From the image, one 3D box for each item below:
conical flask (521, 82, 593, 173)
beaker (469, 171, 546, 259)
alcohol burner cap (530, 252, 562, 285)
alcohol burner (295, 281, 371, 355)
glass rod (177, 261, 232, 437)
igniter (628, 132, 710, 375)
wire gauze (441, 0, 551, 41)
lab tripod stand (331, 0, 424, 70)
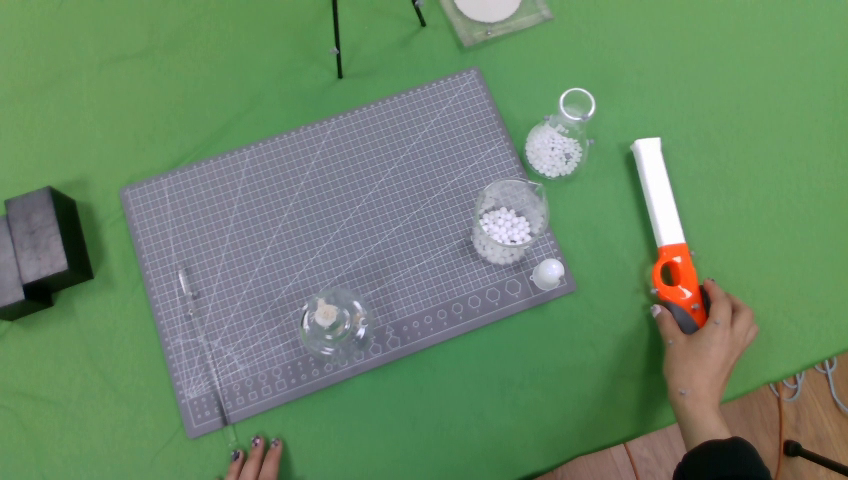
[{"bbox_3d":[0.151,-0.127,0.660,0.075,0.122,0.075,0,76,1],"label":"conical flask"},{"bbox_3d":[0.087,-0.024,0.645,0.084,0.100,0.073,-44,80,-10],"label":"beaker"},{"bbox_3d":[0.135,0.028,0.662,0.034,0.048,0.033,0,76,0],"label":"alcohol burner cap"},{"bbox_3d":[-0.095,0.077,0.614,0.078,0.119,0.077,0,76,2],"label":"alcohol burner"},{"bbox_3d":[-0.239,0.117,0.658,0.008,0.008,0.199,-19,80,-5],"label":"glass rod"},{"bbox_3d":[0.273,0.010,0.677,0.057,0.025,0.275,-6,77,-9],"label":"igniter"},{"bbox_3d":[0.080,-0.317,0.763,0.125,0.011,0.121,-22,78,-7],"label":"wire gauze"},{"bbox_3d":[-0.073,-0.286,0.691,0.148,0.132,0.147,0,78,-1],"label":"lab tripod stand"}]
